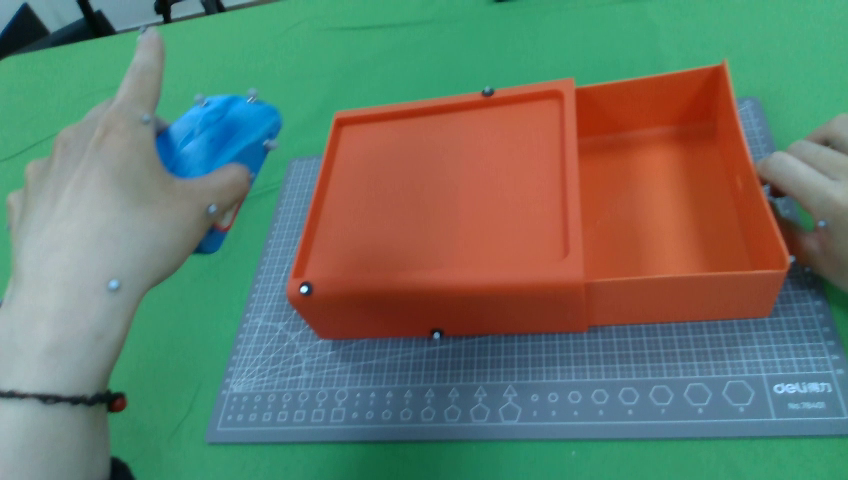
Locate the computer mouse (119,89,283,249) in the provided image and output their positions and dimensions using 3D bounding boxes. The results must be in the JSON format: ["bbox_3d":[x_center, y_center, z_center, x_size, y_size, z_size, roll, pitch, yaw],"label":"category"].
[{"bbox_3d":[-0.137,-0.050,0.372,0.062,0.041,0.116,11,63,22],"label":"computer mouse"}]

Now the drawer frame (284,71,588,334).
[{"bbox_3d":[0.019,-0.029,0.487,0.213,0.083,0.200,-5,54,15],"label":"drawer frame"}]

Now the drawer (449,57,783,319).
[{"bbox_3d":[0.131,-0.038,0.461,0.211,0.074,0.192,-5,54,14],"label":"drawer"}]
